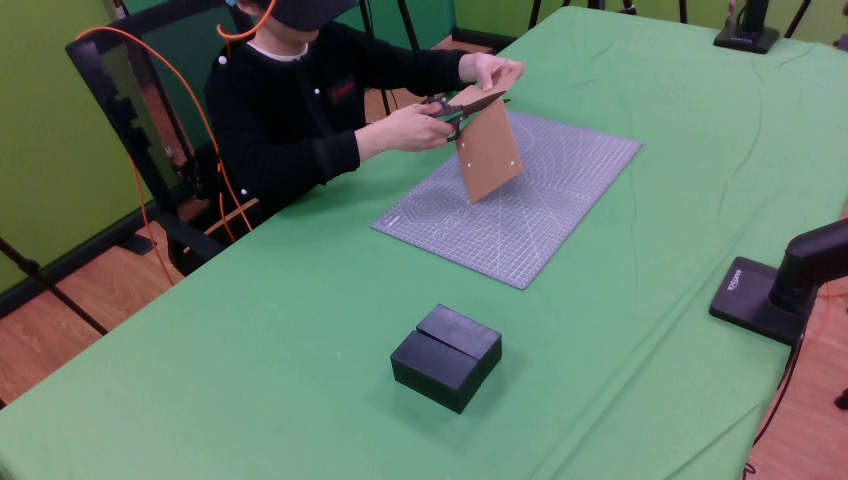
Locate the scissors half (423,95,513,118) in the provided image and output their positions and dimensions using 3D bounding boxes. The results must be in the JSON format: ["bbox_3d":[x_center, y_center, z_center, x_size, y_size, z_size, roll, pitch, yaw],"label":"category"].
[{"bbox_3d":[0.072,-0.227,1.029,0.174,0.040,0.013,8,32,33],"label":"scissors half"}]

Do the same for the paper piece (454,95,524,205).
[{"bbox_3d":[0.104,-0.147,1.014,0.009,0.135,0.137,-5,73,-33],"label":"paper piece"}]

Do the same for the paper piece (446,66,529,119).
[{"bbox_3d":[0.110,-0.260,1.074,0.134,0.004,0.136,-15,26,41],"label":"paper piece"}]

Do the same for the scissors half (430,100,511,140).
[{"bbox_3d":[0.079,-0.208,1.037,0.174,0.040,0.013,-16,22,43],"label":"scissors half"}]
